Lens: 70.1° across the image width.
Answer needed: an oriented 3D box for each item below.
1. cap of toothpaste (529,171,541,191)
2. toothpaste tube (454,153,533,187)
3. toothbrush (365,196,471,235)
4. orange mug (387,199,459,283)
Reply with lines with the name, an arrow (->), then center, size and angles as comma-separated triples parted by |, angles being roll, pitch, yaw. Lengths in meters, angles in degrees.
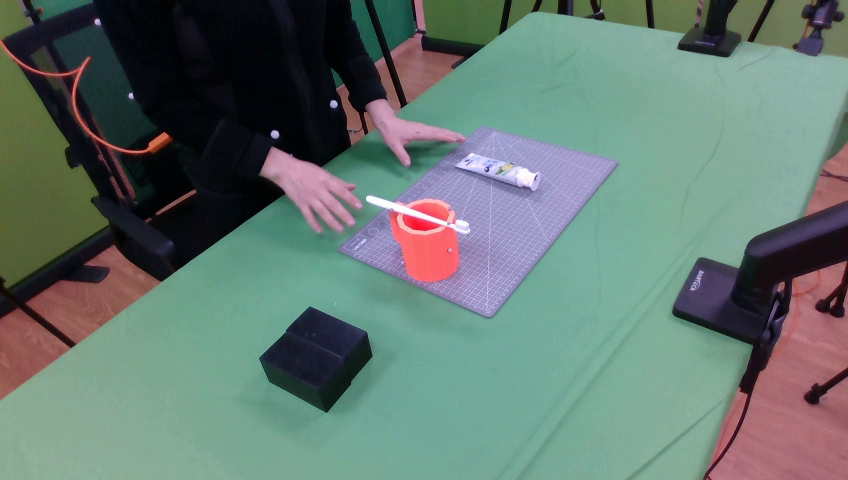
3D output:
cap of toothpaste -> 0.193, -0.103, 1.054 | 0.011, 0.037, 0.037 | 18, 47, 25
toothpaste tube -> 0.134, -0.130, 1.104 | 0.163, 0.034, 0.055 | 24, 44, 37
toothbrush -> -0.013, -0.039, 0.880 | 0.180, 0.017, 0.014 | 18, 50, 27
orange mug -> -0.006, -0.007, 0.923 | 0.125, 0.101, 0.084 | 32, 54, 32
